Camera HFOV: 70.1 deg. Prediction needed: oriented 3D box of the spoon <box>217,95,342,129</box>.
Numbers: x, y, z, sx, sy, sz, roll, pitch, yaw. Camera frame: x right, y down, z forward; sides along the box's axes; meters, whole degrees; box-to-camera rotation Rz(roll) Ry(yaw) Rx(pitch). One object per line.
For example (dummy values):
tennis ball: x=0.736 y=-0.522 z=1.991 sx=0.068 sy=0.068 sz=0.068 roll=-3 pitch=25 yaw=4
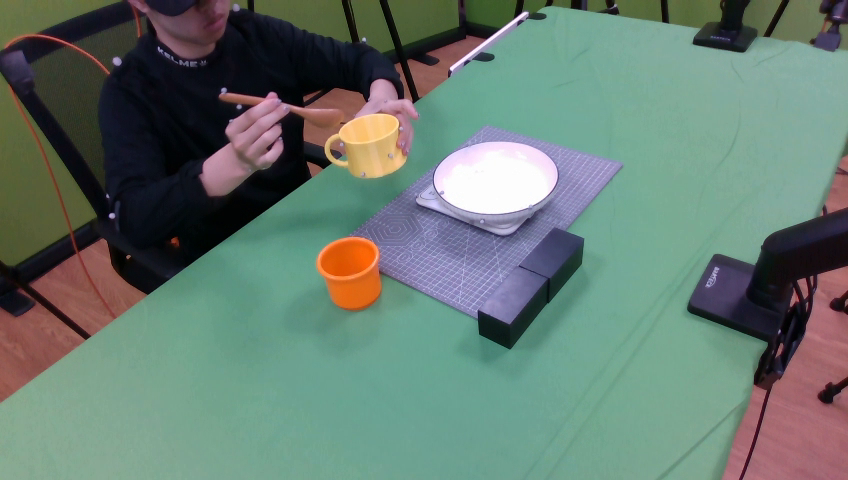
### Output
spoon: x=-0.204 y=-0.187 z=0.876 sx=0.195 sy=0.041 sz=0.021 roll=5 pitch=57 yaw=-38

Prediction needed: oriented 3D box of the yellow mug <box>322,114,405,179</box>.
yellow mug: x=-0.101 y=-0.150 z=0.979 sx=0.131 sy=0.064 sz=0.099 roll=-9 pitch=36 yaw=4

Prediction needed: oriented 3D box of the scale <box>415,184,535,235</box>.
scale: x=0.099 y=-0.080 z=1.035 sx=0.199 sy=0.032 sz=0.149 roll=23 pitch=48 yaw=31

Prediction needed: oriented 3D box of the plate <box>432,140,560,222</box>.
plate: x=0.118 y=-0.094 z=0.999 sx=0.209 sy=0.038 sz=0.208 roll=-5 pitch=41 yaw=4
